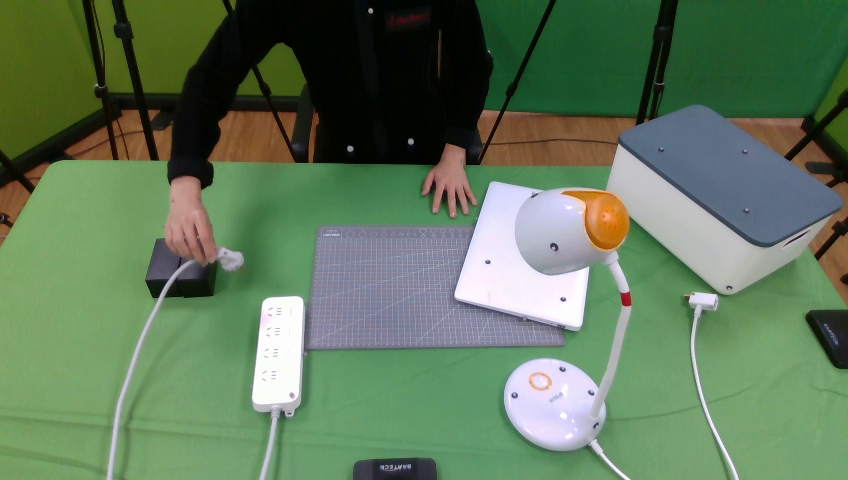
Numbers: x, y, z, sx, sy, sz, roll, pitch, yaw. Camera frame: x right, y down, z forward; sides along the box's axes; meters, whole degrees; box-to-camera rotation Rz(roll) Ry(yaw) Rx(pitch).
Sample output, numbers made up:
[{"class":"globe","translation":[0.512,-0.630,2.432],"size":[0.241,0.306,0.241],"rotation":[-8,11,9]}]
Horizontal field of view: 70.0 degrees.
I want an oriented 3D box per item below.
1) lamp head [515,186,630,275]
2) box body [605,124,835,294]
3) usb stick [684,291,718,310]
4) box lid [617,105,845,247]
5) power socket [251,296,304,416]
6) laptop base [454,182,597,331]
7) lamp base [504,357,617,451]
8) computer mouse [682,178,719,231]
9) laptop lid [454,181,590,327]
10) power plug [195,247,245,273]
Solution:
[{"class":"lamp head","translation":[0.188,-0.013,0.728],"size":[0.112,0.112,0.122],"rotation":[-25,9,-25]},{"class":"box body","translation":[0.582,-0.088,1.230],"size":[0.254,0.161,0.361],"rotation":[-22,52,-23]},{"class":"usb stick","translation":[0.509,0.111,1.121],"size":[0.059,0.021,0.027],"rotation":[6,53,46]},{"class":"box lid","translation":[0.586,-0.138,1.176],"size":[0.263,0.015,0.369],"rotation":[-22,51,-23]},{"class":"power socket","translation":[-0.238,0.181,0.997],"size":[0.072,0.033,0.225],"rotation":[-3,47,-5]},{"class":"laptop base","translation":[0.211,0.019,1.202],"size":[0.235,0.023,0.352],"rotation":[12,46,10]},{"class":"lamp base","translation":[0.220,0.211,0.902],"size":[0.160,0.181,0.178],"rotation":[-33,59,-30]},{"class":"computer mouse","translation":[0.596,-0.078,1.290],"size":[0.117,0.041,0.062],"rotation":[56,44,-7]},{"class":"laptop lid","translation":[0.210,0.010,1.193],"size":[0.241,0.013,0.355],"rotation":[13,46,11]},{"class":"power plug","translation":[-0.331,0.032,0.998],"size":[0.072,0.053,0.035],"rotation":[4,50,24]}]
